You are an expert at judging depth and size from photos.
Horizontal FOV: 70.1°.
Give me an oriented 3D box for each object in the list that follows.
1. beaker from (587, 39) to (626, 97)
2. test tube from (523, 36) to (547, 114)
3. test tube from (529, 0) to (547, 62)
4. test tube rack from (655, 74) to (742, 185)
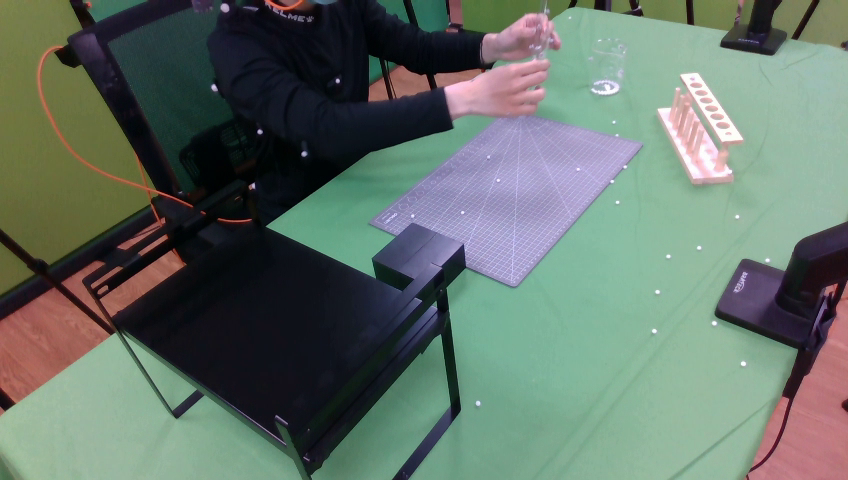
[{"bbox_3d":[0.386,-0.361,1.280,0.074,0.101,0.083,-22,43,-15],"label":"beaker"},{"bbox_3d":[0.193,-0.283,1.053,0.017,0.150,0.017,2,47,-2],"label":"test tube"},{"bbox_3d":[0.220,-0.409,1.162,0.017,0.151,0.017,0,51,0],"label":"test tube"},{"bbox_3d":[0.488,-0.205,1.093,0.067,0.085,0.241,-3,40,5],"label":"test tube rack"}]
